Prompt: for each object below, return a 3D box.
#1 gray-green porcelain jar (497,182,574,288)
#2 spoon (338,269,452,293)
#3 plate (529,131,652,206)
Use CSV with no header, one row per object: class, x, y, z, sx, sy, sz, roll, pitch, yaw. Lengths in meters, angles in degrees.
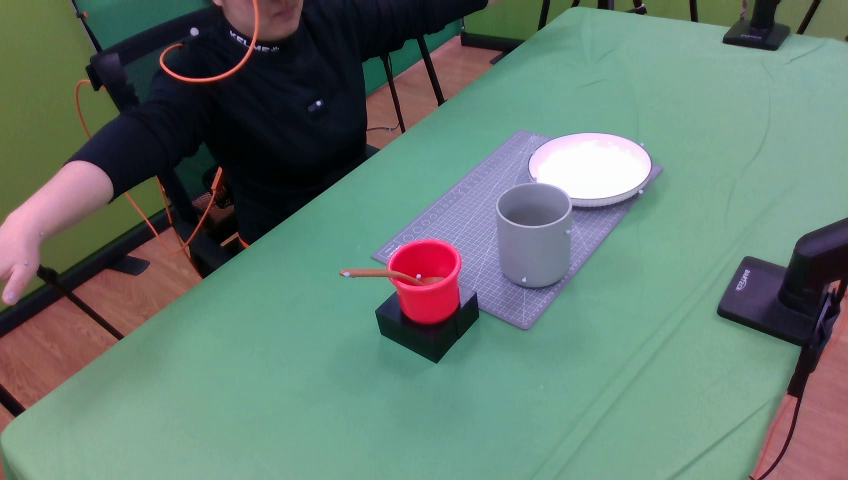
gray-green porcelain jar,0.160,-0.003,0.869,0.106,0.127,0.105,-5,40,5
spoon,-0.033,0.047,0.758,0.041,0.021,0.195,30,10,41
plate,0.287,-0.122,1.055,0.207,0.039,0.206,-5,40,5
